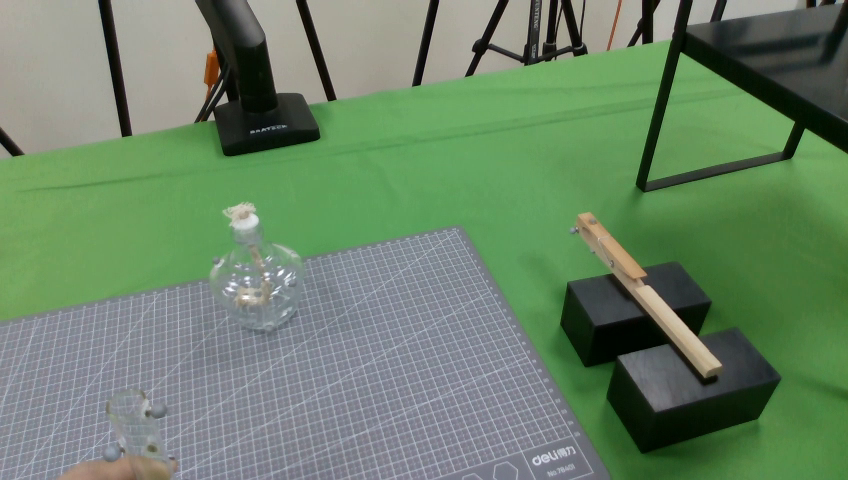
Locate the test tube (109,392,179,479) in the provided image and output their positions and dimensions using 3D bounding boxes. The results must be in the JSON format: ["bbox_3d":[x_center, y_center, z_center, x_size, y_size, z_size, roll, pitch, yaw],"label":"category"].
[{"bbox_3d":[-0.119,0.127,0.284,0.017,0.151,0.017,1,34,0],"label":"test tube"}]

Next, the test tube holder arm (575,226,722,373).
[{"bbox_3d":[0.170,0.038,0.479,0.015,0.013,0.176,-8,38,-17],"label":"test tube holder arm"}]

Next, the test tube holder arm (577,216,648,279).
[{"bbox_3d":[0.157,0.007,0.509,0.015,0.010,0.087,-7,39,-17],"label":"test tube holder arm"}]

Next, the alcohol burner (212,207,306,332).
[{"bbox_3d":[-0.140,0.020,0.504,0.078,0.120,0.077,1,40,0],"label":"alcohol burner"}]
